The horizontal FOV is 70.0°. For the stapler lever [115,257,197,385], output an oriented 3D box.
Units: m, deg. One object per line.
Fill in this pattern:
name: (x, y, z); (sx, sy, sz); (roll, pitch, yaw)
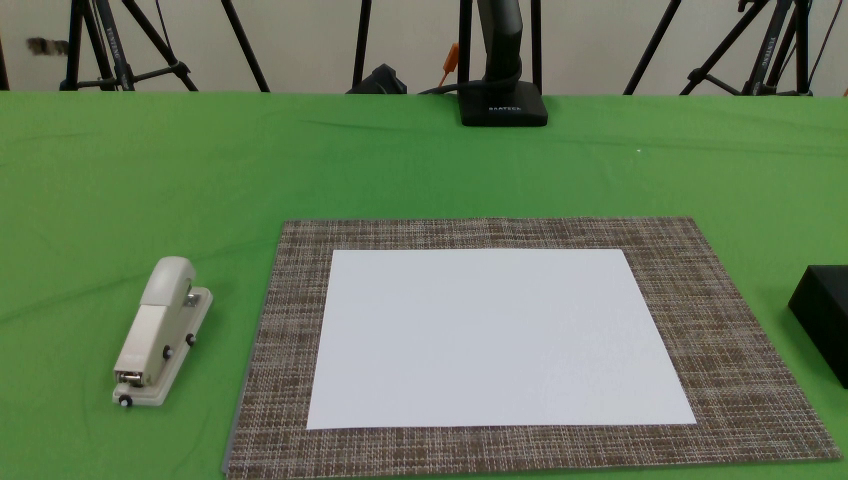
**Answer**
stapler lever: (-0.218, 0.062, 0.497); (0.027, 0.040, 0.117); (1, 41, 4)

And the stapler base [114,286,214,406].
stapler base: (-0.219, 0.080, 0.514); (0.041, 0.024, 0.129); (2, 41, 3)
